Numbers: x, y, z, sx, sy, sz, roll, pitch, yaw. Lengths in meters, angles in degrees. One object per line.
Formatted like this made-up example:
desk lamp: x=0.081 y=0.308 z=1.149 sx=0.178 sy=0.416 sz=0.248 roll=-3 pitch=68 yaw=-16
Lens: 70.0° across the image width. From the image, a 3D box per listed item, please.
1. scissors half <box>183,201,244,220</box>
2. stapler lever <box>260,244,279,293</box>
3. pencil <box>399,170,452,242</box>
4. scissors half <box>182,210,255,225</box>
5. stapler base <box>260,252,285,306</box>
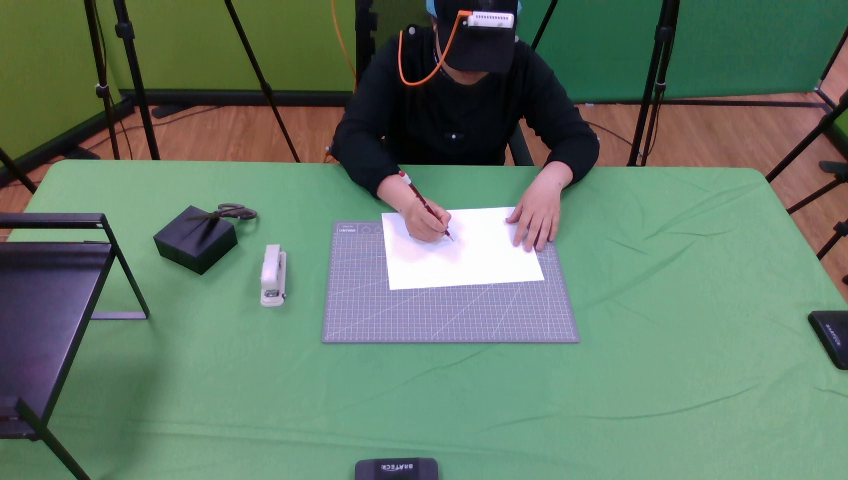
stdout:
scissors half: x=-0.405 y=-0.054 z=1.163 sx=0.040 sy=0.013 sz=0.175 roll=30 pitch=18 yaw=7
stapler lever: x=-0.278 y=0.045 z=1.096 sx=0.027 sy=0.040 sz=0.117 roll=-2 pitch=44 yaw=-9
pencil: x=0.007 y=-0.061 z=1.150 sx=0.012 sy=0.195 sz=0.012 roll=-24 pitch=36 yaw=19
scissors half: x=-0.389 y=-0.042 z=1.158 sx=0.040 sy=0.013 sz=0.175 roll=42 pitch=21 yaw=22
stapler base: x=-0.279 y=0.064 z=1.113 sx=0.041 sy=0.024 sz=0.129 roll=-1 pitch=44 yaw=-9
